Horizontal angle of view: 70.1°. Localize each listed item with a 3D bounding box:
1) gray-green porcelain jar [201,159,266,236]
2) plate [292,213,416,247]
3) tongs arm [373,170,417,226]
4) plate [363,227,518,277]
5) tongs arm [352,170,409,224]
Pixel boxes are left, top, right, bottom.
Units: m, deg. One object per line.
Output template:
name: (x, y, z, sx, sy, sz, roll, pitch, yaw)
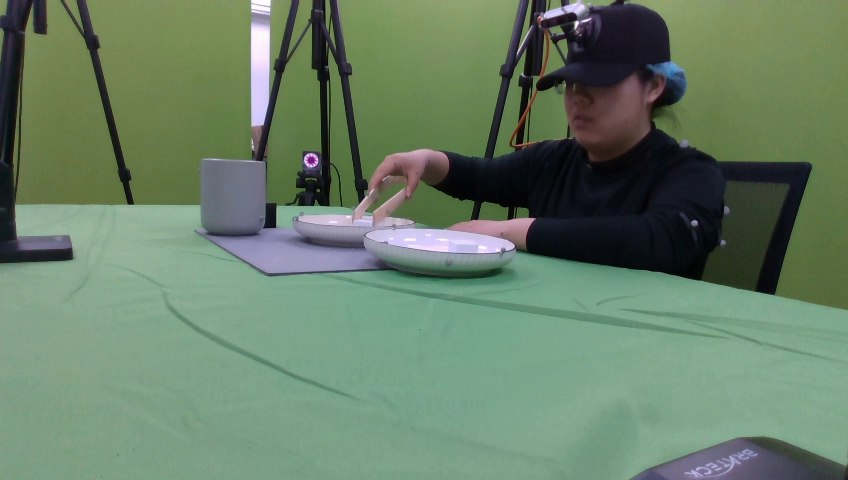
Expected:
gray-green porcelain jar: (-0.326, -0.073, 1.036, 0.106, 0.126, 0.106, 3, 8, 0)
plate: (-0.118, -0.017, 1.024, 0.208, 0.039, 0.207, 3, 7, 0)
tongs arm: (-0.051, -0.087, 1.143, 0.028, 0.028, 0.388, 1, 16, 9)
plate: (0.022, 0.016, 0.817, 0.209, 0.038, 0.209, 4, 9, 0)
tongs arm: (-0.074, -0.089, 1.146, 0.051, 0.026, 0.384, 4, 17, 4)
